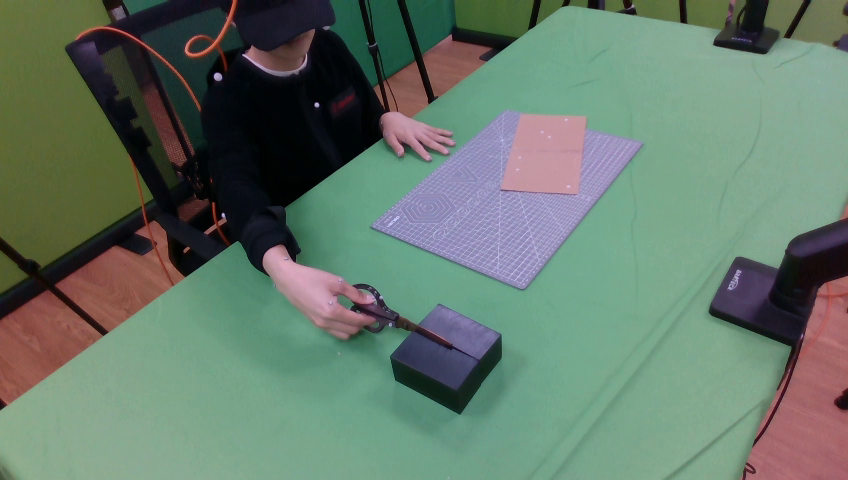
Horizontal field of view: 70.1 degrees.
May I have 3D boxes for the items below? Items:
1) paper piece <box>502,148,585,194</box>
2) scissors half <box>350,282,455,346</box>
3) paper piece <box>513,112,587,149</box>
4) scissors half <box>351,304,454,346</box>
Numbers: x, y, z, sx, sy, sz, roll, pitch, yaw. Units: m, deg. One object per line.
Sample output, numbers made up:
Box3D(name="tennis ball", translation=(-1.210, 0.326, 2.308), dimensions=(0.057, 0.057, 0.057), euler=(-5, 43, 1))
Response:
Box3D(name="paper piece", translation=(0.219, -0.128, 1.101), dimensions=(0.135, 0.009, 0.138), euler=(2, 42, 17))
Box3D(name="scissors half", translation=(-0.031, 0.099, 0.795), dimensions=(0.174, 0.040, 0.013), euler=(27, 35, 27))
Box3D(name="paper piece", translation=(0.251, -0.215, 1.196), dimensions=(0.135, 0.004, 0.135), euler=(6, 42, 14))
Box3D(name="scissors half", translation=(-0.031, 0.117, 0.805), dimensions=(0.174, 0.040, 0.013), euler=(10, 31, 37))
